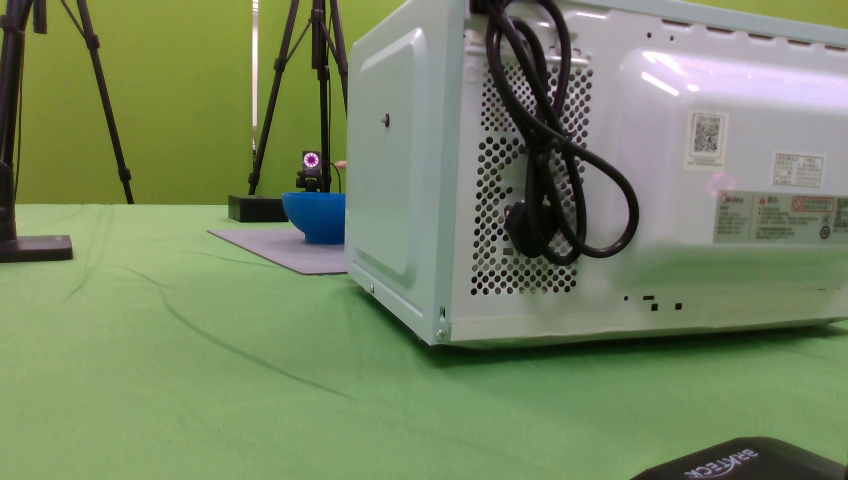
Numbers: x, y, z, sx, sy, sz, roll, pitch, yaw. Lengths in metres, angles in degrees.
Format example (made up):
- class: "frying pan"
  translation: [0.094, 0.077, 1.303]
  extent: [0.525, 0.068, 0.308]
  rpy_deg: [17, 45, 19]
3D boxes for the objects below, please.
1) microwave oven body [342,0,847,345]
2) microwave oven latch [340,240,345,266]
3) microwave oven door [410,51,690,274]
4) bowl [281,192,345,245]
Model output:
- class: "microwave oven body"
  translation: [0.169, -0.060, 0.573]
  extent: [0.444, 0.260, 0.324]
  rpy_deg: [1, 7, -20]
- class: "microwave oven latch"
  translation: [-0.052, 0.016, 0.662]
  extent: [0.079, 0.029, 0.030]
  rpy_deg: [1, 7, -19]
- class: "microwave oven door"
  translation: [0.161, -0.084, 0.723]
  extent: [0.357, 0.243, 0.039]
  rpy_deg: [0, 8, -20]
- class: "bowl"
  translation: [-0.158, -0.035, 0.991]
  extent: [0.151, 0.077, 0.151]
  rpy_deg: [3, 7, 0]
